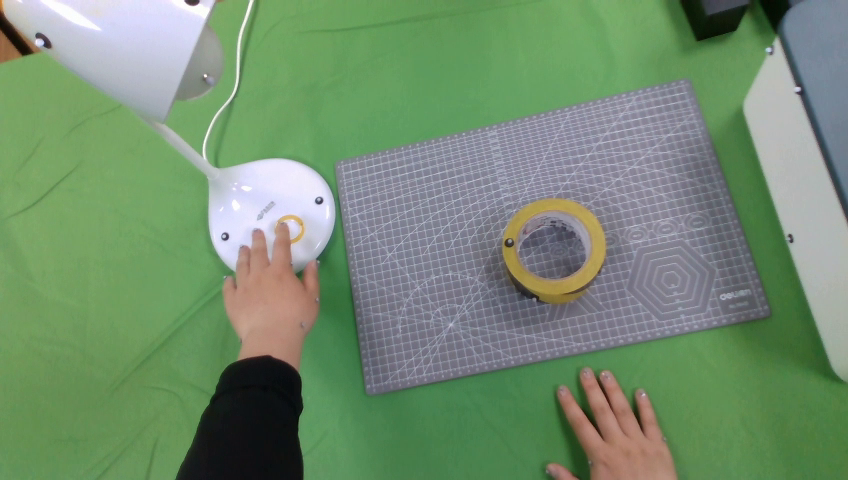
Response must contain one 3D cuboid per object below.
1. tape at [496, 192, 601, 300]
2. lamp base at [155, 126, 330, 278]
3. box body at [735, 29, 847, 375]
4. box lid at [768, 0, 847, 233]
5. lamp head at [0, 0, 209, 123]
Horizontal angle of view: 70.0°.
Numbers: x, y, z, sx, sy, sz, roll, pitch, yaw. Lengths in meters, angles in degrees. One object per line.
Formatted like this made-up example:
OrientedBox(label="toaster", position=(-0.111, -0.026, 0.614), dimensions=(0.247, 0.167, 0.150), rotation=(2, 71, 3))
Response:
OrientedBox(label="tape", position=(0.139, 0.006, 0.679), dimensions=(0.117, 0.053, 0.116), rotation=(-2, 73, 8))
OrientedBox(label="lamp base", position=(-0.218, -0.058, 0.691), dimensions=(0.178, 0.181, 0.160), rotation=(26, 79, 18))
OrientedBox(label="box body", position=(0.492, -0.062, 0.588), dimensions=(0.254, 0.161, 0.361), rotation=(-12, 72, 6))
OrientedBox(label="box lid", position=(0.481, -0.086, 0.519), dimensions=(0.263, 0.015, 0.369), rotation=(-12, 72, 5))
OrientedBox(label="lamp head", position=(-0.215, -0.152, 0.407), dimensions=(0.124, 0.112, 0.112), rotation=(20, 75, -20))
